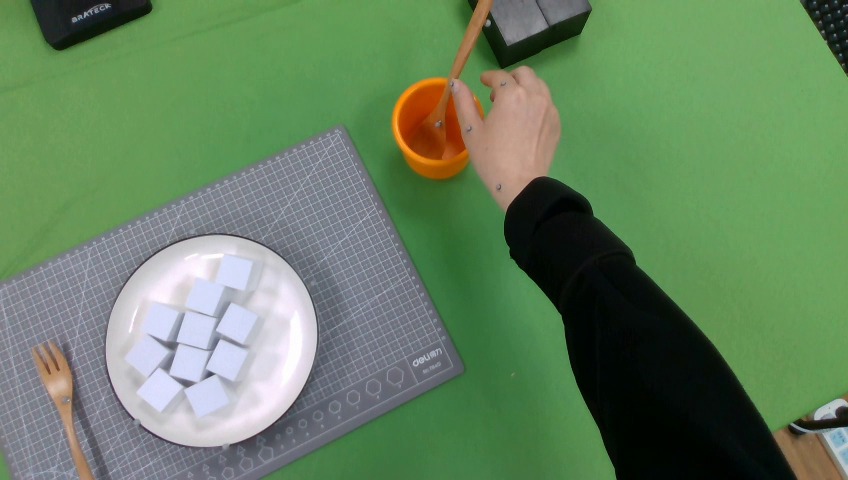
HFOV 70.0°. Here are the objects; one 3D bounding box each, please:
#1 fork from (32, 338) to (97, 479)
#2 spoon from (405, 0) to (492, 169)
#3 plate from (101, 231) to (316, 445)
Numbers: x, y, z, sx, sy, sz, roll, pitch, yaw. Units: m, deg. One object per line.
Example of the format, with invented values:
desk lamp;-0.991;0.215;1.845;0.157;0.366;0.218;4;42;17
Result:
fork;-0.343;0.194;0.598;0.028;0.019;0.206;-24;79;-9
spoon;0.026;-0.153;0.598;0.041;0.195;0.021;33;38;10
plate;-0.210;0.096;0.607;0.208;0.039;0.207;0;80;-1
